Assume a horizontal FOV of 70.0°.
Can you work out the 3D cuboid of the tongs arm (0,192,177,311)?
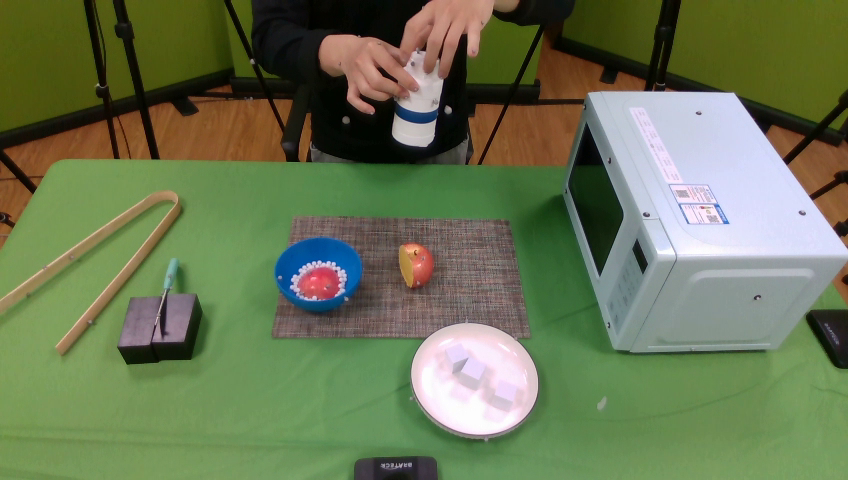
[{"bbox_3d":[-0.618,0.019,1.124,0.050,0.026,0.384,24,47,16],"label":"tongs arm"}]

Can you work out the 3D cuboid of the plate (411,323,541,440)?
[{"bbox_3d":[0.082,0.228,0.976,0.208,0.039,0.206,2,45,-2],"label":"plate"}]

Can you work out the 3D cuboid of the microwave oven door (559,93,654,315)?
[{"bbox_3d":[0.327,-0.074,1.123,0.039,0.245,0.353,0,46,-5],"label":"microwave oven door"}]

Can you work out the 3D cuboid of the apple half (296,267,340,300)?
[{"bbox_3d":[-0.187,0.070,1.067,0.081,0.033,0.081,2,47,-2],"label":"apple half"}]

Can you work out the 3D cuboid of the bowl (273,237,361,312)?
[{"bbox_3d":[-0.186,0.074,1.069,0.151,0.077,0.150,3,46,-3],"label":"bowl"}]

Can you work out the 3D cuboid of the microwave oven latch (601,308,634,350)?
[{"bbox_3d":[0.331,0.153,1.044,0.030,0.029,0.078,-2,45,-5],"label":"microwave oven latch"}]

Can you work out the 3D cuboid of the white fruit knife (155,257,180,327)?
[{"bbox_3d":[-0.440,0.085,1.037,0.016,0.027,0.206,10,26,-19],"label":"white fruit knife"}]

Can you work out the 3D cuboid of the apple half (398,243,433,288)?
[{"bbox_3d":[-0.012,0.046,1.115,0.053,0.075,0.080,-11,44,-19],"label":"apple half"}]

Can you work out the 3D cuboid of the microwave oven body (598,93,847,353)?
[{"bbox_3d":[0.475,-0.041,1.109,0.326,0.261,0.438,-1,45,-4],"label":"microwave oven body"}]

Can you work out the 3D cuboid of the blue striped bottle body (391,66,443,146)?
[{"bbox_3d":[-0.009,-0.200,0.858,0.063,0.121,0.062,7,37,-5],"label":"blue striped bottle body"}]

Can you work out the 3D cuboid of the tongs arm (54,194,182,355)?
[{"bbox_3d":[-0.544,0.048,1.108,0.028,0.028,0.385,11,46,9],"label":"tongs arm"}]

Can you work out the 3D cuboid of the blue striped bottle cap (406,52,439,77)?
[{"bbox_3d":[-0.001,-0.240,0.826,0.044,0.021,0.044,6,35,-4],"label":"blue striped bottle cap"}]
